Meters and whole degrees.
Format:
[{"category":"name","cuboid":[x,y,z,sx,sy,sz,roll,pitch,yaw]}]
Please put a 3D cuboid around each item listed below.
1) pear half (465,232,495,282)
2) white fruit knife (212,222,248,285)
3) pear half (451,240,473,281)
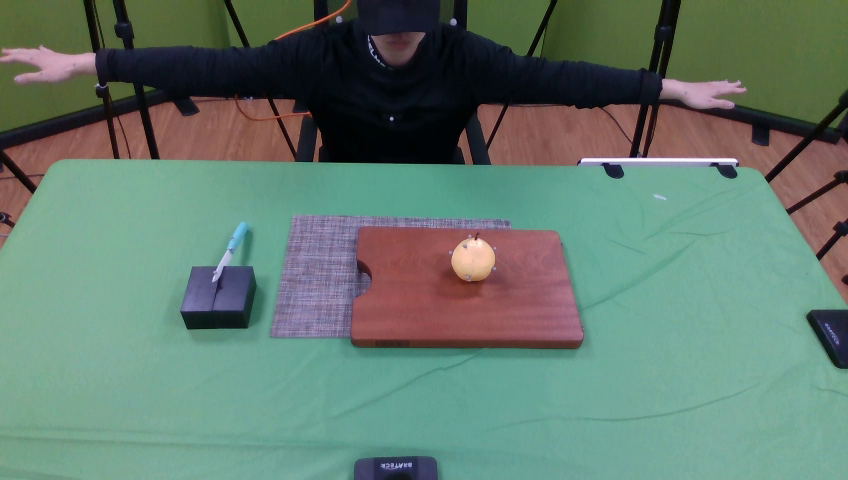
[{"category":"pear half","cuboid":[0.100,0.024,1.085,0.056,0.110,0.076,-11,51,-15]},{"category":"white fruit knife","cuboid":[-0.355,0.020,1.111,0.016,0.027,0.206,-1,30,0]},{"category":"pear half","cuboid":[0.065,0.036,1.085,0.031,0.088,0.070,-11,50,-14]}]
